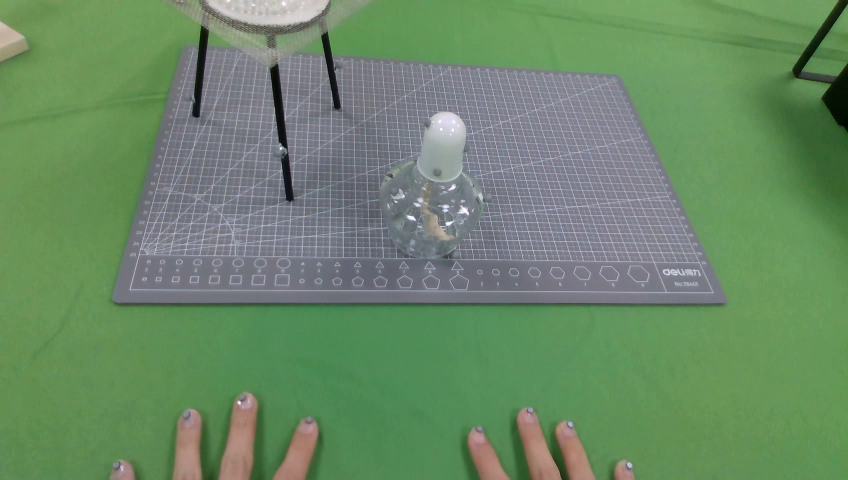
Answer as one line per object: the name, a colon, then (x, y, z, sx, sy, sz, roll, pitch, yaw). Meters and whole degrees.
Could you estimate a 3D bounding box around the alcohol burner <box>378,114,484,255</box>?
alcohol burner: (0.008, -0.045, 0.433, 0.078, 0.120, 0.077, 6, 49, -7)

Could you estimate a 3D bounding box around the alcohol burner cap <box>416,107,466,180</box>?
alcohol burner cap: (0.013, -0.066, 0.405, 0.034, 0.048, 0.033, 3, 55, -5)

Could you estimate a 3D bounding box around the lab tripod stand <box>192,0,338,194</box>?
lab tripod stand: (-0.117, -0.131, 0.468, 0.149, 0.132, 0.147, 6, 51, -8)

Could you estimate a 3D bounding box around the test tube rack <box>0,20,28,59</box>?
test tube rack: (-0.447, -0.148, 0.455, 0.066, 0.086, 0.241, 32, 52, 15)

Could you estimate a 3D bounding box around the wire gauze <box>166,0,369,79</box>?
wire gauze: (-0.111, -0.172, 0.418, 0.124, 0.011, 0.121, 34, 56, 12)

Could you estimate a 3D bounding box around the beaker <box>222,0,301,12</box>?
beaker: (-0.108, -0.204, 0.380, 0.073, 0.101, 0.084, 33, 54, 15)
